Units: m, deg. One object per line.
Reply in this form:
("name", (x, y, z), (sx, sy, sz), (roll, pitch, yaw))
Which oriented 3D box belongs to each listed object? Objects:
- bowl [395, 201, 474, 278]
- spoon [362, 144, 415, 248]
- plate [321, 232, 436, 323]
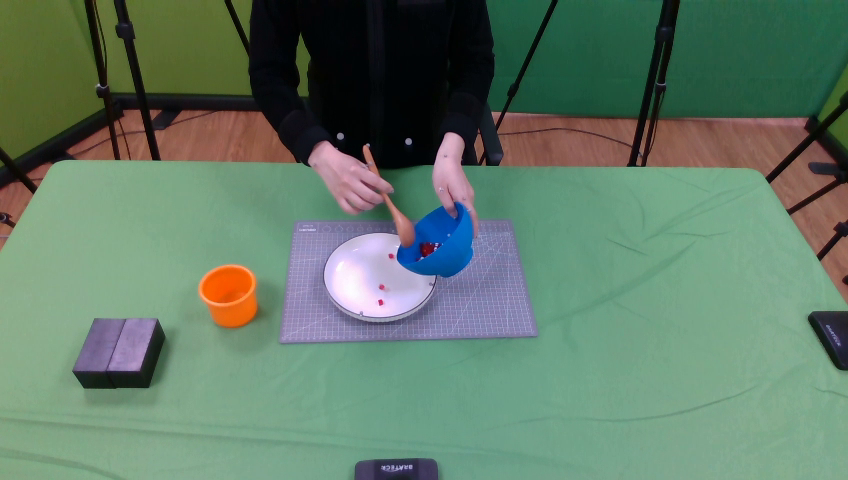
("bowl", (0.032, 0.012, 1.045), (0.151, 0.077, 0.150), (-34, 24, 18))
("spoon", (-0.062, -0.072, 1.020), (0.021, 0.194, 0.041), (-8, 26, 46))
("plate", (-0.082, 0.070, 1.109), (0.209, 0.038, 0.208), (3, 46, -3))
